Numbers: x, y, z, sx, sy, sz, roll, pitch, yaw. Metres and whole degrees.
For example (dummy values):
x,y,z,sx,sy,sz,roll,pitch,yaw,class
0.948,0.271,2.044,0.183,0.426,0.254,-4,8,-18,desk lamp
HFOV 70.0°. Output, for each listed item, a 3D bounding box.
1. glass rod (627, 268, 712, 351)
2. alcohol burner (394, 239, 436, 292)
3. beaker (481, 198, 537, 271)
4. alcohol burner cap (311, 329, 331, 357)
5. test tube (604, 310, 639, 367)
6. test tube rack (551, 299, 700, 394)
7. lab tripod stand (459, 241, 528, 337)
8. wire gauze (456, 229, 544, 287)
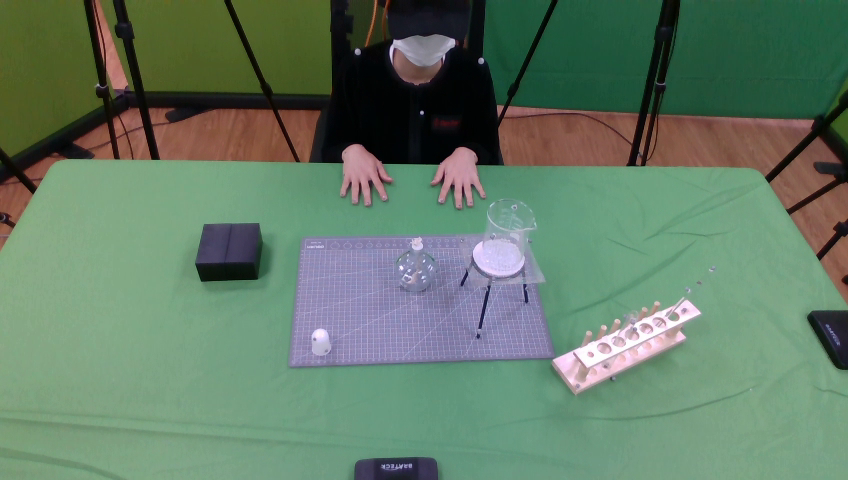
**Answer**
x,y,z,sx,sy,sz,roll,pitch,yaw,class
0.399,0.117,0.995,0.008,0.200,0.008,26,29,-15,glass rod
-0.016,0.038,1.093,0.078,0.119,0.077,2,48,-2,alcohol burner
0.134,-0.005,0.974,0.084,0.101,0.074,23,49,16,beaker
-0.173,0.168,1.005,0.034,0.048,0.033,2,46,-2,alcohol burner cap
0.310,0.158,0.957,0.017,0.151,0.017,1,49,-1,test tube
0.339,0.166,1.021,0.242,0.085,0.066,-19,50,-21,test tube rack
0.122,0.075,1.054,0.148,0.132,0.147,3,44,-3,lab tripod stand
0.125,0.030,1.008,0.125,0.011,0.120,-3,48,-11,wire gauze
